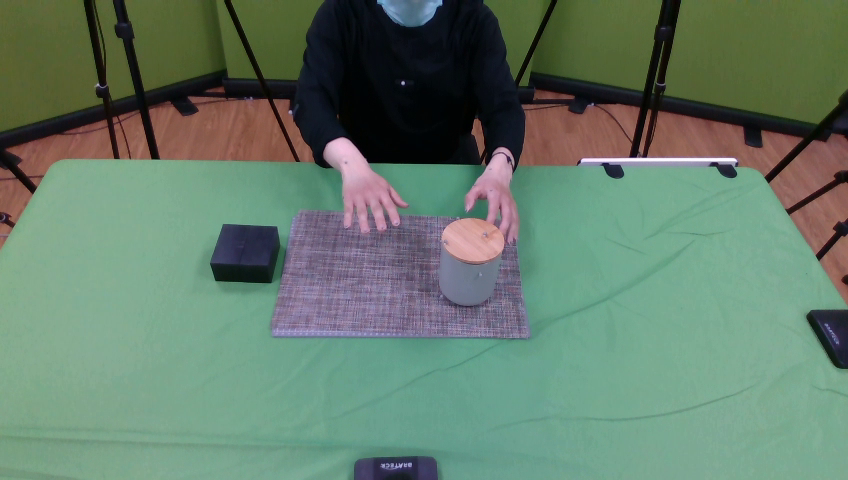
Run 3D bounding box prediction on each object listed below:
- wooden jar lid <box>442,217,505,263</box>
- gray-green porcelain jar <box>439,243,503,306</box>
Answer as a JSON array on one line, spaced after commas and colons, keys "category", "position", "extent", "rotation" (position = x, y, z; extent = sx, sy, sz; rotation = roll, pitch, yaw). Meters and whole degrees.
[{"category": "wooden jar lid", "position": [0.084, 0.003, 1.033], "extent": [0.108, 0.021, 0.107], "rotation": [1, 43, -1]}, {"category": "gray-green porcelain jar", "position": [0.081, 0.046, 1.078], "extent": [0.106, 0.127, 0.105], "rotation": [2, 46, -2]}]
